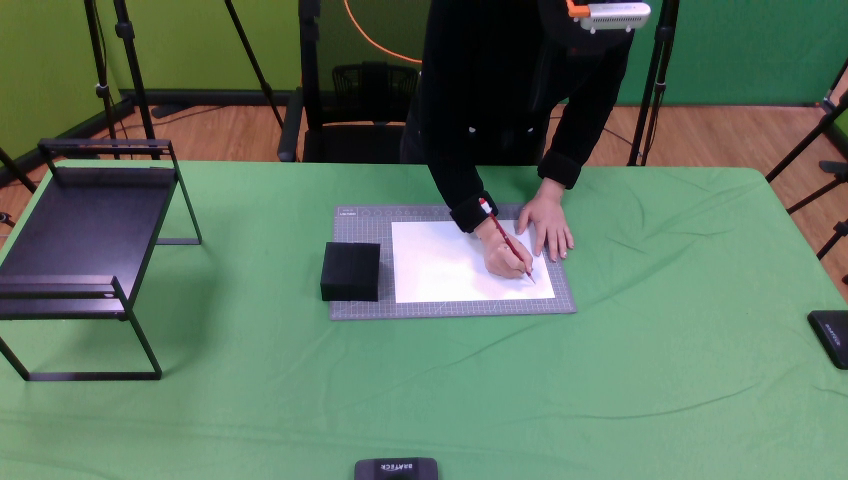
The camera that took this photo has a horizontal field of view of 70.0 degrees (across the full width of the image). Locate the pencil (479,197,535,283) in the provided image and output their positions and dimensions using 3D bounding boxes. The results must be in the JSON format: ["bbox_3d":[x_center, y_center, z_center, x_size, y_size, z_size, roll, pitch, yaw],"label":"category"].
[{"bbox_3d":[0.155,0.003,1.118,0.012,0.012,0.194,-42,105,-35],"label":"pencil"}]
